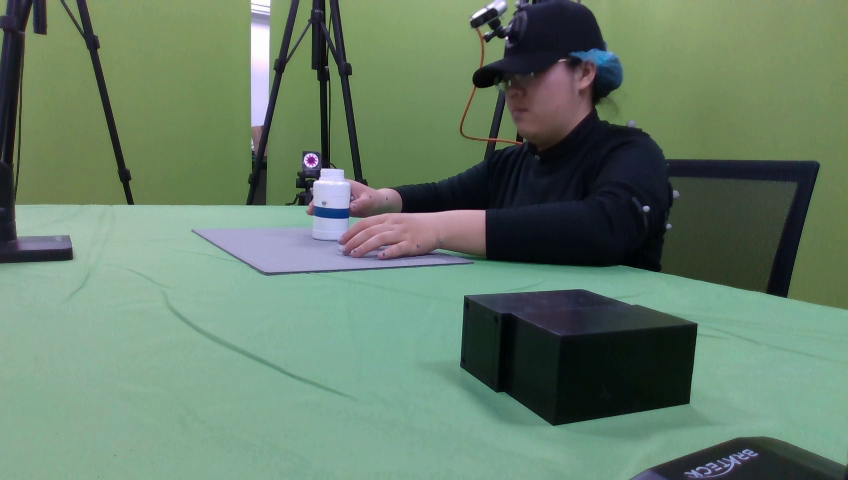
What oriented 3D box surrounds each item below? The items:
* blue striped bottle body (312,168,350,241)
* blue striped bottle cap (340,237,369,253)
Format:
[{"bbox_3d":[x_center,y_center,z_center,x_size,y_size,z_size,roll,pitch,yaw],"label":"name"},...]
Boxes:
[{"bbox_3d":[-0.157,-0.062,1.025,0.063,0.120,0.063,3,7,0],"label":"blue striped bottle body"},{"bbox_3d":[-0.106,0.007,0.920,0.044,0.020,0.044,0,6,0],"label":"blue striped bottle cap"}]
